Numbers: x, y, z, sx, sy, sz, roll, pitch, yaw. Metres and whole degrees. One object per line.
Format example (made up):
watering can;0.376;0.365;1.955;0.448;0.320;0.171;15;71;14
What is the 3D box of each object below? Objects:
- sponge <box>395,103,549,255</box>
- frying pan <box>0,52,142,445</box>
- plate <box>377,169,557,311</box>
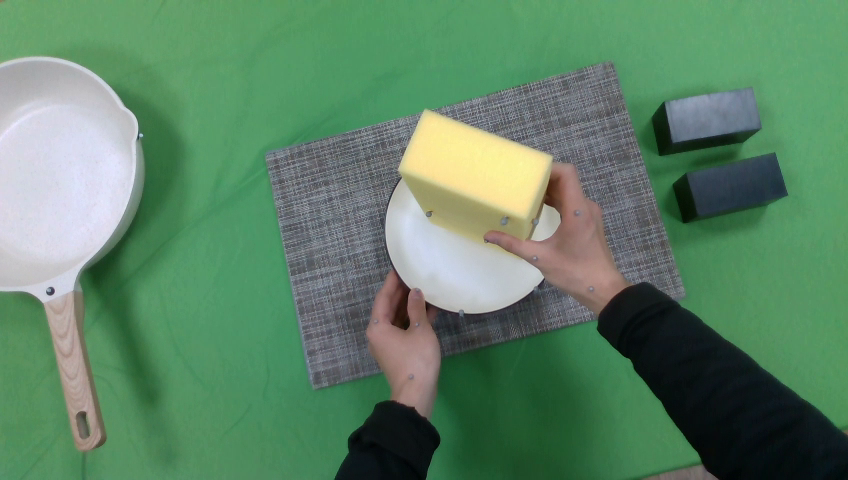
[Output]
sponge;0.053;-0.050;0.602;0.118;0.208;0.061;22;83;11
frying pan;-0.450;0.007;0.726;0.307;0.103;0.484;-22;73;3
plate;0.050;-0.019;0.716;0.207;0.039;0.207;-1;82;5
